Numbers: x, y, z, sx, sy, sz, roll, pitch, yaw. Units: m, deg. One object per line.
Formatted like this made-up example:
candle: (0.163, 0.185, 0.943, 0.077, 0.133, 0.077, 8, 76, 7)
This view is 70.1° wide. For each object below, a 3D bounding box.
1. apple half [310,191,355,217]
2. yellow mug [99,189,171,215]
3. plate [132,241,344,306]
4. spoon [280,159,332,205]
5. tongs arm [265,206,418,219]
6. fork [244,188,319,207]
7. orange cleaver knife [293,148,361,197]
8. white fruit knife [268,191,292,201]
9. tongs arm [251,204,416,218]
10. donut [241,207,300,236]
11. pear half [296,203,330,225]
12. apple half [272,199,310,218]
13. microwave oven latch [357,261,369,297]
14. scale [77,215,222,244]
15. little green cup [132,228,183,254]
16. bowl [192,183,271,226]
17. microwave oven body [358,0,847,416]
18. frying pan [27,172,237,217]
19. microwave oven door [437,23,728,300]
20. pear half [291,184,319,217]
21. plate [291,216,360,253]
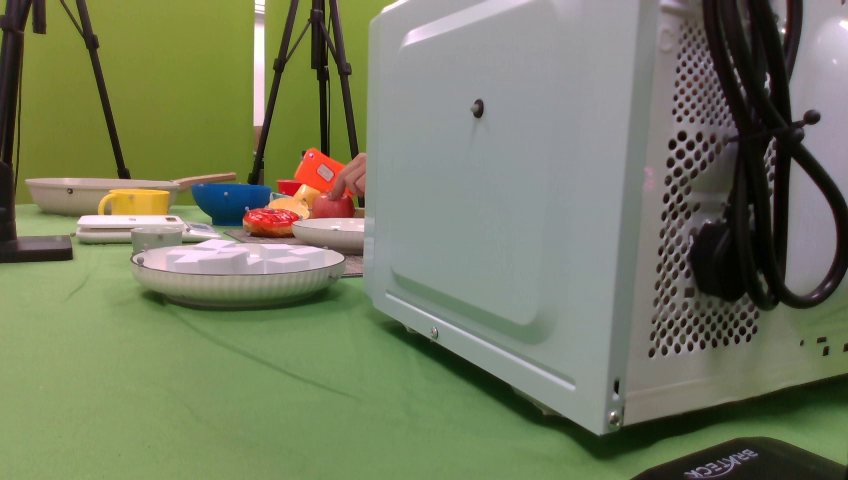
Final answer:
apple half: (-0.163, -0.050, 1.104, 0.081, 0.074, 0.053, 4, 15, -34)
yellow mug: (-0.519, -0.055, 1.080, 0.099, 0.064, 0.131, 7, 9, 26)
plate: (-0.187, 0.033, 0.625, 0.208, 0.039, 0.207, 2, 8, 0)
spoon: (-0.316, -0.159, 1.640, 0.194, 0.022, 0.041, -50, 32, -20)
tongs arm: (-0.173, -0.061, 1.362, 0.387, 0.026, 0.050, -1, 3, -31)
fork: (-0.356, -0.105, 1.526, 0.208, 0.018, 0.028, 16, -5, -41)
orange cleaver knife: (-0.152, -0.118, 1.159, 0.212, 0.077, 0.012, 12, 2, -40)
white fruit knife: (-0.364, -0.105, 1.464, 0.208, 0.027, 0.016, 15, -1, -34)
tongs arm: (-0.210, -0.068, 1.440, 0.389, 0.027, 0.028, 0, -1, -17)
donut: (-0.263, -0.031, 1.039, 0.099, 0.048, 0.099, 5, 9, 0)
pear half: (-0.229, -0.051, 1.258, 0.070, 0.031, 0.088, -2, 21, -2)
apple half: (-0.254, -0.038, 1.143, 0.082, 0.081, 0.032, -3, -34, -36)
microwave oven latch: (-0.019, 0.033, 0.530, 0.079, 0.029, 0.030, -1, 7, -27)
scale: (-0.434, -0.019, 0.963, 0.202, 0.031, 0.148, -1, 9, -27)
little green cup: (-0.342, 0.006, 0.779, 0.061, 0.038, 0.061, 2, 8, 0)
bowl: (-0.382, -0.070, 1.202, 0.151, 0.077, 0.151, 3, 7, 0)
microwave oven body: (0.211, -0.047, 0.474, 0.444, 0.260, 0.324, -1, 7, -28)
frying pan: (-0.624, -0.118, 1.387, 0.305, 0.102, 0.490, 8, 17, 32)
microwave oven door: (0.180, -0.072, 0.621, 0.358, 0.243, 0.039, -2, 9, -29)
pear half: (-0.228, -0.077, 1.182, 0.076, 0.110, 0.056, -2, 8, 2)
plate: (-0.103, -0.009, 0.945, 0.209, 0.038, 0.209, 2, 8, 0)
